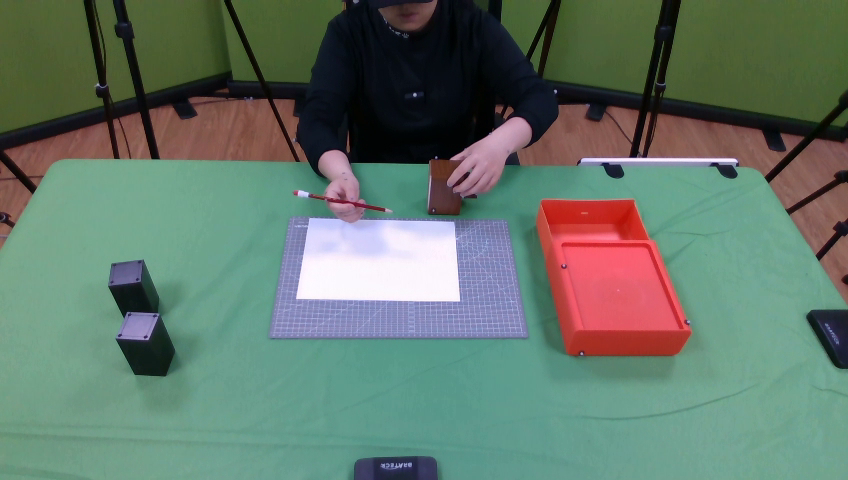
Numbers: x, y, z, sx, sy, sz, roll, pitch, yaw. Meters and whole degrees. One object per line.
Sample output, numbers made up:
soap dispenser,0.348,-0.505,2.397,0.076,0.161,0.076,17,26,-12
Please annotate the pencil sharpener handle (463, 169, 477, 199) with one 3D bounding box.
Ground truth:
pencil sharpener handle,0.096,-0.112,1.239,0.030,0.068,0.036,2,41,-2

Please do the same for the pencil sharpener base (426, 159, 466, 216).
pencil sharpener base,0.044,-0.106,1.246,0.077,0.107,0.061,2,45,-2

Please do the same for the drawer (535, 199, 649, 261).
drawer,0.332,0.015,1.170,0.195,0.073,0.210,0,46,-5

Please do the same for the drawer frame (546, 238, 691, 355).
drawer frame,0.338,0.097,1.086,0.202,0.083,0.212,0,46,-4

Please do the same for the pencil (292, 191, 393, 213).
pencil,-0.154,-0.071,1.140,0.194,0.012,0.012,11,46,0
